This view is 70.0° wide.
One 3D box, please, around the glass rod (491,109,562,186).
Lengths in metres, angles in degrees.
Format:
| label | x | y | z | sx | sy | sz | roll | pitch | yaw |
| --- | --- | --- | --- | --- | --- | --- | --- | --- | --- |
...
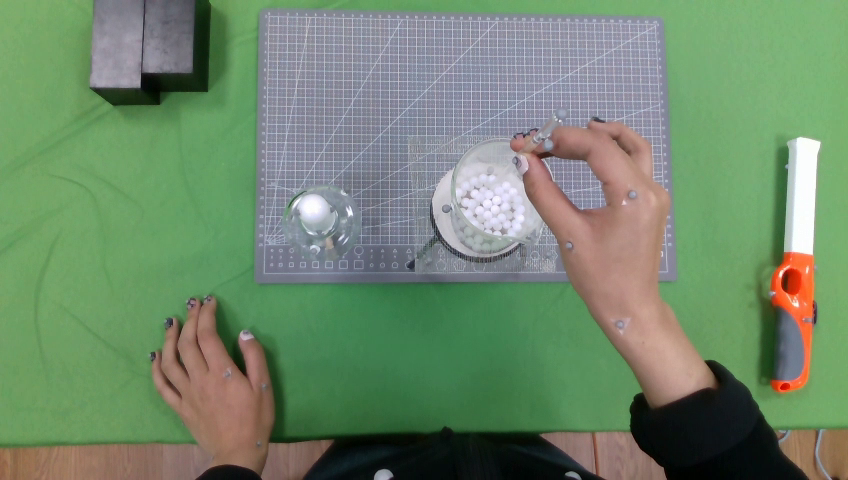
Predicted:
| label | x | y | z | sx | sy | sz | roll | pitch | yaw |
| --- | --- | --- | --- | --- | --- | --- | --- | --- | --- |
| glass rod | 0.064 | -0.057 | 0.412 | 0.008 | 0.200 | 0.008 | 0 | 85 | -3 |

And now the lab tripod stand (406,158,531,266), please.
| label | x | y | z | sx | sy | sz | roll | pitch | yaw |
| --- | --- | --- | --- | --- | --- | --- | --- | --- | --- |
| lab tripod stand | 0.044 | -0.023 | 0.584 | 0.148 | 0.132 | 0.148 | 0 | 83 | -1 |

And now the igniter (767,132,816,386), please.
| label | x | y | z | sx | sy | sz | roll | pitch | yaw |
| --- | --- | --- | --- | --- | --- | --- | --- | --- | --- |
| igniter | 0.400 | 0.020 | 0.656 | 0.057 | 0.025 | 0.276 | 9 | 84 | -13 |

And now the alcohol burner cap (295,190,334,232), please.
| label | x | y | z | sx | sy | sz | roll | pitch | yaw |
| --- | --- | --- | --- | --- | --- | --- | --- | --- | --- |
| alcohol burner cap | -0.101 | -0.028 | 0.550 | 0.034 | 0.048 | 0.033 | 0 | 79 | -1 |

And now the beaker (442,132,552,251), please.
| label | x | y | z | sx | sy | sz | roll | pitch | yaw |
| --- | --- | --- | --- | --- | --- | --- | --- | --- | --- |
| beaker | 0.053 | -0.029 | 0.471 | 0.074 | 0.100 | 0.084 | -32 | 85 | -6 |

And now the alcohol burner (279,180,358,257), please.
| label | x | y | z | sx | sy | sz | roll | pitch | yaw |
| --- | --- | --- | --- | --- | --- | --- | --- | --- | --- |
| alcohol burner | -0.103 | -0.024 | 0.586 | 0.078 | 0.119 | 0.077 | 1 | 81 | -3 |

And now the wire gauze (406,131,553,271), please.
| label | x | y | z | sx | sy | sz | roll | pitch | yaw |
| --- | --- | --- | --- | --- | --- | --- | --- | --- | --- |
| wire gauze | 0.048 | -0.034 | 0.519 | 0.125 | 0.011 | 0.121 | -1 | 82 | -1 |
